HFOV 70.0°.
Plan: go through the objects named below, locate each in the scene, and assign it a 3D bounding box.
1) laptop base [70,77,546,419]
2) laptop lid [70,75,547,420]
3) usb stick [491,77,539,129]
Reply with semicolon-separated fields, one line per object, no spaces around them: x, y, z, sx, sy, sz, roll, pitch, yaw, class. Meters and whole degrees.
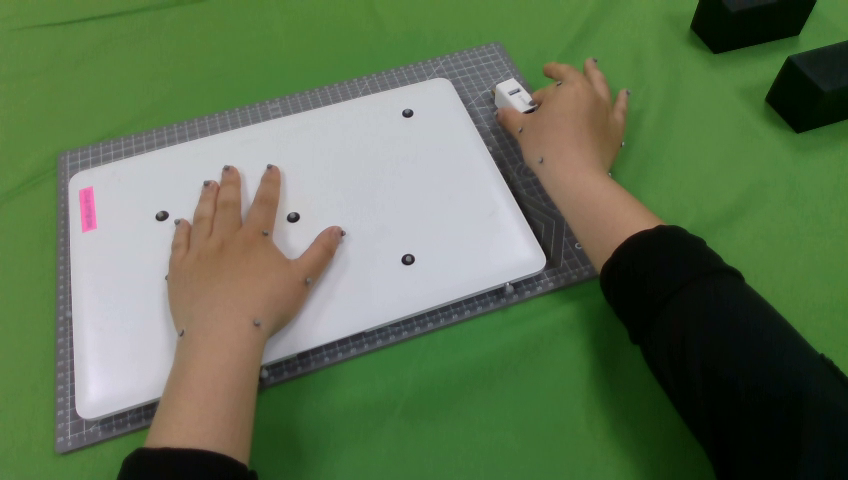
-0.106;-0.014;0.505;0.355;0.023;0.233;-17;60;-9;laptop base
-0.105;-0.018;0.496;0.357;0.013;0.239;-16;59;-8;laptop lid
0.083;-0.134;0.572;0.021;0.027;0.058;-28;54;-12;usb stick
